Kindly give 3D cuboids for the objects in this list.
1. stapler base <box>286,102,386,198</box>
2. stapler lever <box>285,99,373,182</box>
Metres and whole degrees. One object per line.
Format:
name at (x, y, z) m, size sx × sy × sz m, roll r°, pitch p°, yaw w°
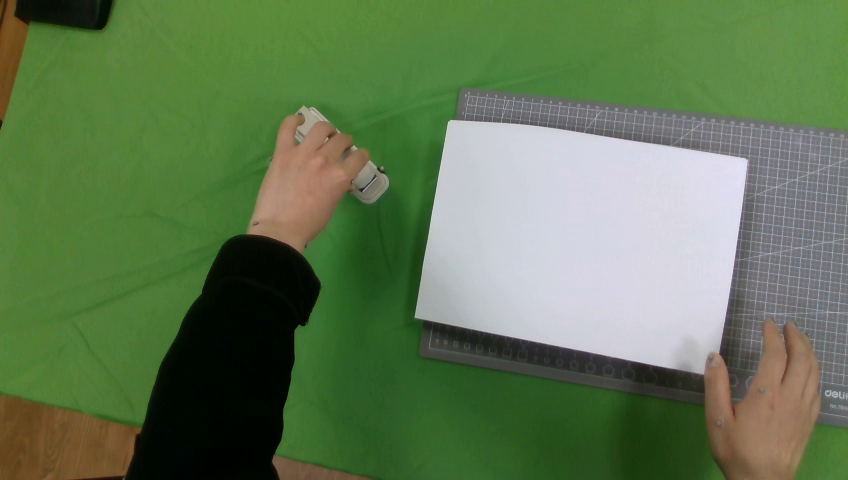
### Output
stapler base at (-0.098, -0.102, 0.665) m, size 0.130 × 0.024 × 0.041 m, roll 43°, pitch 84°, yaw 10°
stapler lever at (-0.102, -0.107, 0.641) m, size 0.117 × 0.040 × 0.027 m, roll 43°, pitch 84°, yaw 10°
